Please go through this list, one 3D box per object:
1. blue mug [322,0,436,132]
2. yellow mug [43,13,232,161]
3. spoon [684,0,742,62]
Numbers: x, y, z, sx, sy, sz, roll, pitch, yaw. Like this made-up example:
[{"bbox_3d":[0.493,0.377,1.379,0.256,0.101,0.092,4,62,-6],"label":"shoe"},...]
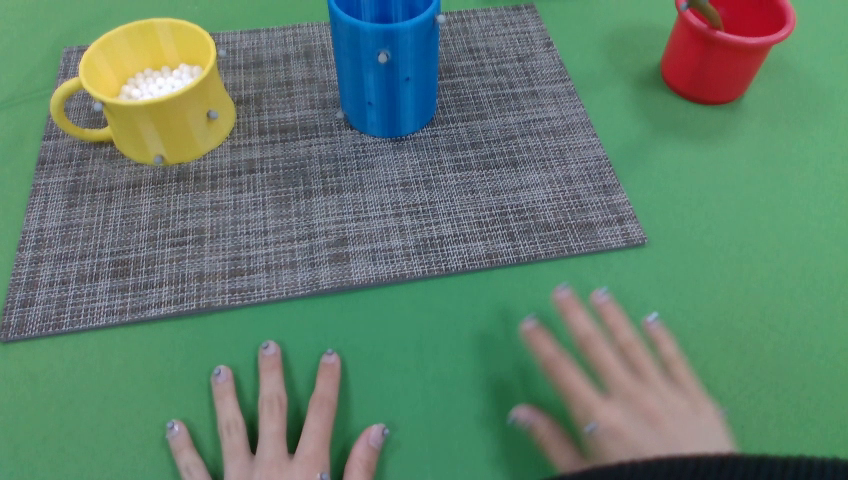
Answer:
[{"bbox_3d":[-0.025,-0.162,0.488,0.082,0.107,0.116,29,59,17],"label":"blue mug"},{"bbox_3d":[-0.224,-0.115,0.472,0.131,0.064,0.099,-21,59,-15],"label":"yellow mug"},{"bbox_3d":[0.229,-0.175,0.488,0.041,0.022,0.195,44,21,25],"label":"spoon"}]
